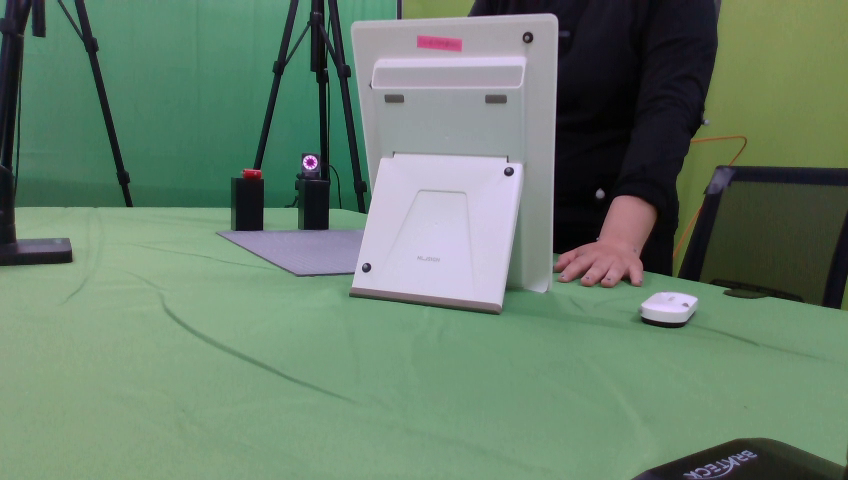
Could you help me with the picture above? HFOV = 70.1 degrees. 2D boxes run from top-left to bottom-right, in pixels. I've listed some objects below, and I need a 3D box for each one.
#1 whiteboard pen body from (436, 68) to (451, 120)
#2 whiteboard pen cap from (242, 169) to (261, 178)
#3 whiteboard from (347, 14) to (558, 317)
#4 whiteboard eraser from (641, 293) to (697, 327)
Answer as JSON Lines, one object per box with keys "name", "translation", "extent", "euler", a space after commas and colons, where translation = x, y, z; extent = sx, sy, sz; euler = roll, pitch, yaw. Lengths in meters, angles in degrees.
{"name": "whiteboard pen body", "translation": [0.028, -0.202, 0.835], "extent": [0.017, 0.017, 0.140], "euler": [2, 41, -4]}
{"name": "whiteboard pen cap", "translation": [-0.326, -0.126, 1.144], "extent": [0.032, 0.017, 0.017], "euler": [-1, 8, -37]}
{"name": "whiteboard", "translation": [0.012, -0.056, 0.609], "extent": [0.216, 0.305, 0.144], "euler": [6, 27, 20]}
{"name": "whiteboard eraser", "translation": [0.240, 0.066, 0.590], "extent": [0.041, 0.019, 0.102], "euler": [5, 7, 31]}
